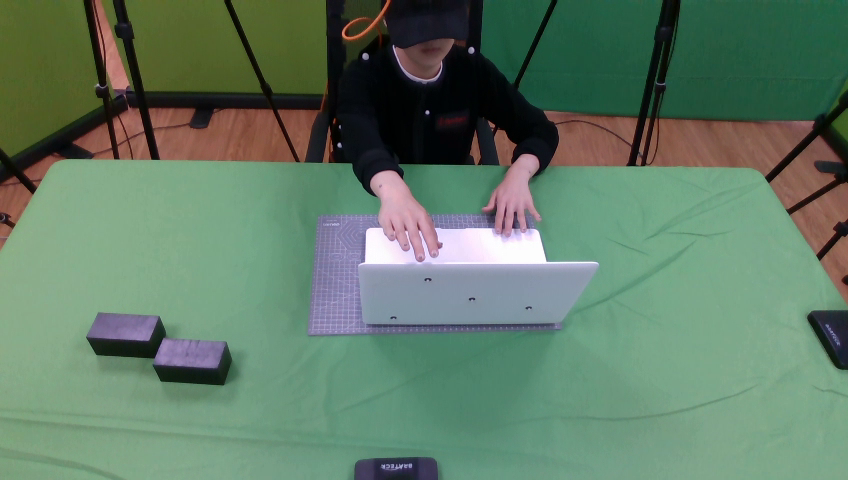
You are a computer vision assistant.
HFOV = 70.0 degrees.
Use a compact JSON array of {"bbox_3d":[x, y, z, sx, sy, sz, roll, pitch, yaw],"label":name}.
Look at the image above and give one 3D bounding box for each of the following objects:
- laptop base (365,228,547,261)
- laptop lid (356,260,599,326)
[{"bbox_3d":[0.064,0.063,1.143,0.355,0.023,0.234,0,42,-4],"label":"laptop base"},{"bbox_3d":[0.074,0.089,0.958,0.357,0.242,0.013,1,60,-5],"label":"laptop lid"}]
